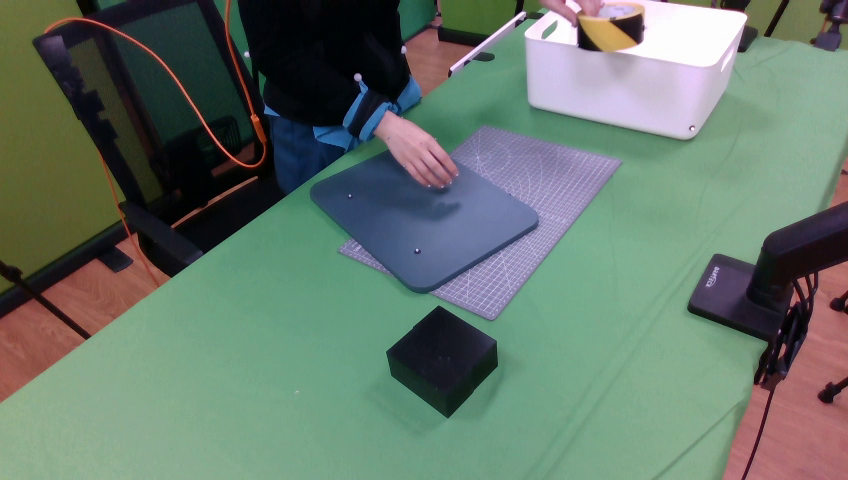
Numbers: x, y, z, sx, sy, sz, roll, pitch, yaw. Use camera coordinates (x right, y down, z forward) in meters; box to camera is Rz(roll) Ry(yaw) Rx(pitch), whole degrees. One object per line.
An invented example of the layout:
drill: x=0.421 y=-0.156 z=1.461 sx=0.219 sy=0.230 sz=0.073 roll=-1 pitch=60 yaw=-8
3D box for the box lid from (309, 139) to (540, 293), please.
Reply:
box lid: x=-0.010 y=-0.060 z=1.045 sx=0.264 sy=0.015 sz=0.368 roll=-30 pitch=45 yaw=-24

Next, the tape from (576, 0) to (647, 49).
tape: x=0.313 y=-0.362 z=1.014 sx=0.117 sy=0.053 sz=0.116 roll=-8 pitch=31 yaw=5

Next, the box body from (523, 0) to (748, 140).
box body: x=0.412 y=-0.354 z=1.212 sx=0.361 sy=0.161 sz=0.254 roll=20 pitch=48 yaw=29
